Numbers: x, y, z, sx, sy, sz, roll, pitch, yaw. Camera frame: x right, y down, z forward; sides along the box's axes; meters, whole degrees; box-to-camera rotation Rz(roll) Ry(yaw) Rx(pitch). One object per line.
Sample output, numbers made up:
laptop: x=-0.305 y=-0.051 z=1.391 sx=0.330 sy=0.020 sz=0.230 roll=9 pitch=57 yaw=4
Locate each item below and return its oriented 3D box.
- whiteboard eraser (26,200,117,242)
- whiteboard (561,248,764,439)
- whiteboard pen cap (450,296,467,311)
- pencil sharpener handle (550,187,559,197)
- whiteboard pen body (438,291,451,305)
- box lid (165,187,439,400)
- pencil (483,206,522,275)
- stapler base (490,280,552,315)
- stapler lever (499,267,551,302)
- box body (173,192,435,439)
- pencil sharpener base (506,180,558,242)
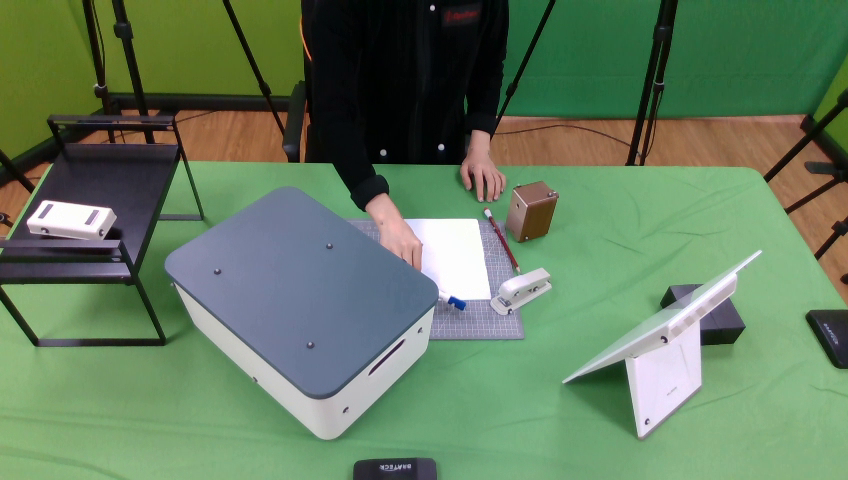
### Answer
whiteboard eraser: x=-0.532 y=-0.026 z=0.919 sx=0.113 sy=0.042 sz=0.055 roll=7 pitch=45 yaw=3
whiteboard: x=0.386 y=0.176 z=0.905 sx=0.217 sy=0.306 sz=0.143 roll=-26 pitch=72 yaw=-27
whiteboard pen cap: x=0.058 y=0.112 z=1.075 sx=0.033 sy=0.018 sz=0.018 roll=25 pitch=50 yaw=10
pencil sharpener handle: x=0.261 y=-0.084 z=1.221 sx=0.031 sy=0.068 sz=0.036 roll=-16 pitch=66 yaw=-19
whiteboard pen body: x=0.005 y=0.087 z=1.082 sx=0.140 sy=0.017 sz=0.017 roll=28 pitch=50 yaw=11
box lid: x=-0.186 y=0.060 z=0.925 sx=0.370 sy=0.015 sz=0.263 roll=32 pitch=53 yaw=25
pencil: x=0.158 y=-0.001 z=1.218 sx=0.012 sy=0.012 sz=0.192 roll=-11 pitch=48 yaw=-14
stapler base: x=0.181 y=0.094 z=1.118 sx=0.130 sy=0.024 sz=0.041 roll=-24 pitch=57 yaw=-29
stapler lever: x=0.185 y=0.076 z=1.101 sx=0.118 sy=0.040 sz=0.026 roll=-25 pitch=57 yaw=-29
box body: x=-0.191 y=0.110 z=0.979 sx=0.362 sy=0.161 sz=0.254 roll=33 pitch=53 yaw=24
pencil sharpener base: x=0.216 y=-0.058 z=1.211 sx=0.077 sy=0.107 sz=0.061 roll=-16 pitch=49 yaw=-19
